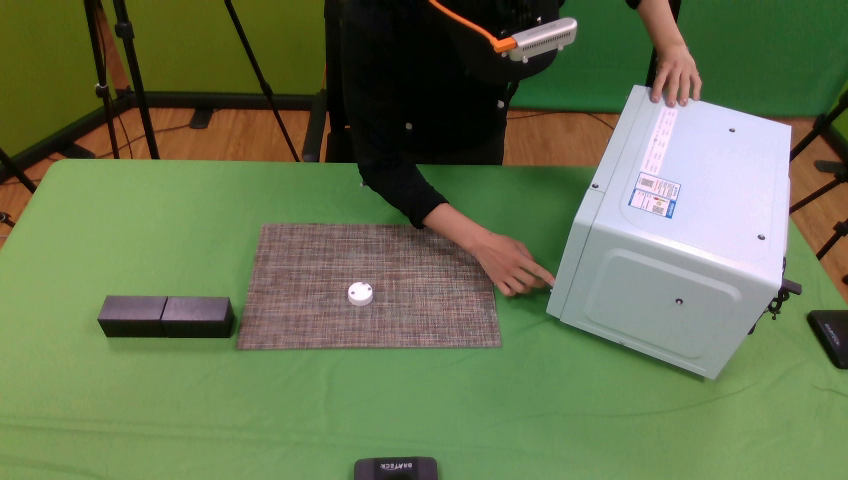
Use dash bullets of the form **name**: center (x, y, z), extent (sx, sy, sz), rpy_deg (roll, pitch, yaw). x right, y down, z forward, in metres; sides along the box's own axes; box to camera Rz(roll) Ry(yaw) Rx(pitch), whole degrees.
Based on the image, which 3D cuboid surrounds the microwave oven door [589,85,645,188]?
- **microwave oven door**: center (0.341, -0.107, 1.149), extent (0.039, 0.245, 0.354), rpy_deg (20, 48, 15)

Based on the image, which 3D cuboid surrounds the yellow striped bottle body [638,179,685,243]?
- **yellow striped bottle body**: center (0.442, -0.057, 1.124), extent (0.063, 0.121, 0.062), rpy_deg (-1, 47, 1)

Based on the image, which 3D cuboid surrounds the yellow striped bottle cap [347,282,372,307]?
- **yellow striped bottle cap**: center (-0.117, 0.098, 1.093), extent (0.044, 0.019, 0.044), rpy_deg (3, 45, -3)

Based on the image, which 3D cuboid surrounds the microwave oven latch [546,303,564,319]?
- **microwave oven latch**: center (0.242, 0.102, 1.081), extent (0.030, 0.029, 0.079), rpy_deg (22, 48, 17)

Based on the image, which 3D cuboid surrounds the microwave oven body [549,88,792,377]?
- **microwave oven body**: center (0.456, -0.028, 1.088), extent (0.325, 0.261, 0.440), rpy_deg (20, 47, 16)
